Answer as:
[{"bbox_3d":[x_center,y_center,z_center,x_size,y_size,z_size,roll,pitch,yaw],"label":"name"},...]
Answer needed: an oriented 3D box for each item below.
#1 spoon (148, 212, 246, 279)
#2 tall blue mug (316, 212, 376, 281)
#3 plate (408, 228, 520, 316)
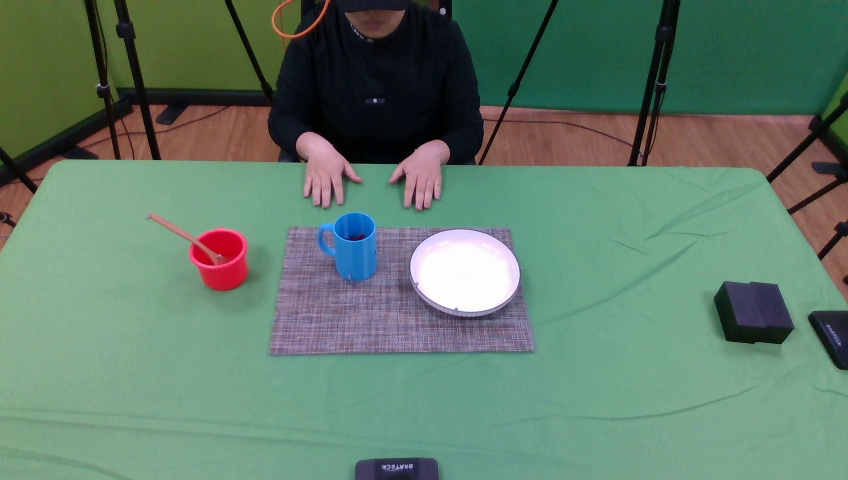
[{"bbox_3d":[-0.400,0.009,1.076,0.194,0.021,0.041,42,37,-25],"label":"spoon"},{"bbox_3d":[-0.142,0.014,1.109,0.107,0.108,0.077,-5,47,-8],"label":"tall blue mug"},{"bbox_3d":[0.073,0.062,1.128,0.208,0.039,0.206,2,46,-2],"label":"plate"}]
